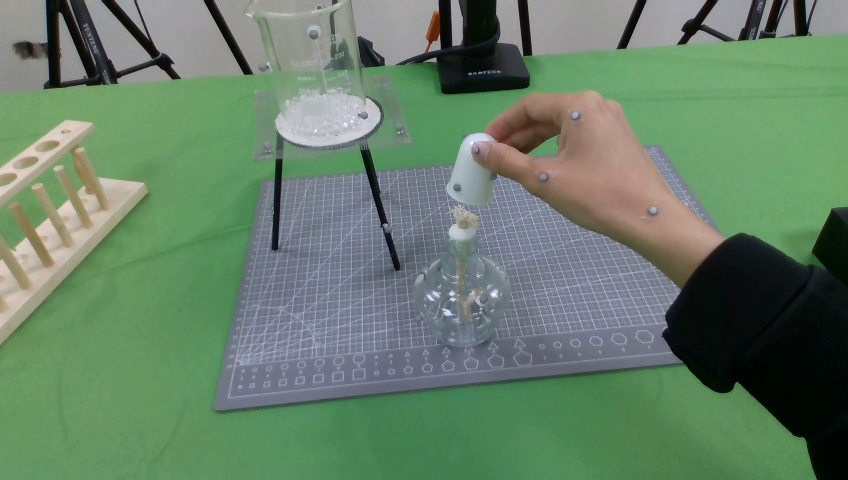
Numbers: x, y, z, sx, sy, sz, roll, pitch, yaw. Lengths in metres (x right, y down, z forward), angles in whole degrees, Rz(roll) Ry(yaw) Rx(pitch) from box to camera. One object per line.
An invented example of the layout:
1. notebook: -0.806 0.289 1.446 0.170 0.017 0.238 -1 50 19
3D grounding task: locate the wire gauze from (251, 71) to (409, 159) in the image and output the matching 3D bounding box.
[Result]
1. wire gauze: -0.082 -0.105 0.506 0.125 0.011 0.120 -11 40 -4

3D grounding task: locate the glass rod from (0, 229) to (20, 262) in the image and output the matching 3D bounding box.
1. glass rod: -0.398 -0.061 0.516 0.008 0.201 0.008 -6 35 4

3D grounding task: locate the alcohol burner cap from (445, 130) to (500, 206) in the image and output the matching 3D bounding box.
1. alcohol burner cap: 0.034 -0.050 0.404 0.034 0.048 0.033 8 38 -5

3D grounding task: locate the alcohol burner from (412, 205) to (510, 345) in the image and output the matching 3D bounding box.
1. alcohol burner: 0.028 0.024 0.466 0.078 0.120 0.077 -2 40 2

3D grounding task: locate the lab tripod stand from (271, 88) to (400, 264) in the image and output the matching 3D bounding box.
1. lab tripod stand: -0.079 -0.056 0.549 0.148 0.133 0.147 -2 43 3

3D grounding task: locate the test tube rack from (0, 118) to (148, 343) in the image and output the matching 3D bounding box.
1. test tube rack: -0.367 -0.012 0.559 0.066 0.086 0.240 8 42 12

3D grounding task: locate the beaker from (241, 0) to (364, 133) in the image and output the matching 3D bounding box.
1. beaker: -0.089 -0.141 0.473 0.084 0.101 0.073 -10 41 -5
